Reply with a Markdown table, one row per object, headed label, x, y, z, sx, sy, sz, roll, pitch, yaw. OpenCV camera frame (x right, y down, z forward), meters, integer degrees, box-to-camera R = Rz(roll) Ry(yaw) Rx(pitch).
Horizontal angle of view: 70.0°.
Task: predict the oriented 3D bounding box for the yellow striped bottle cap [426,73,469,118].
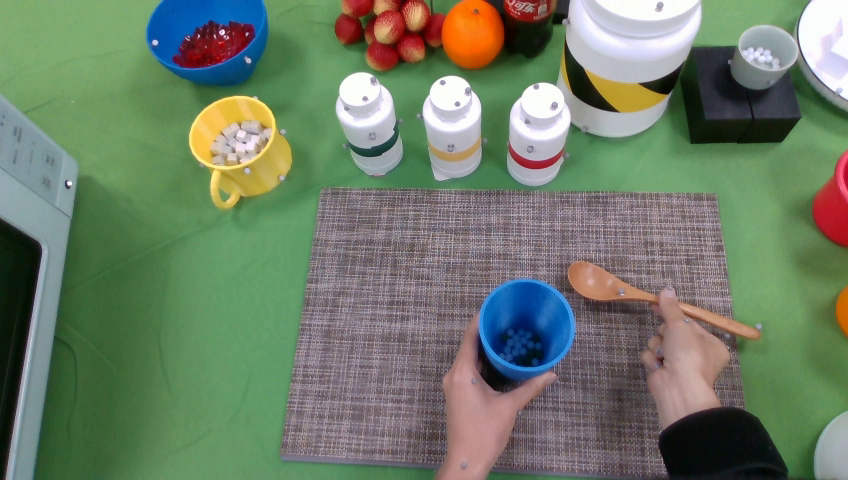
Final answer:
| label | x | y | z | sx | sy | sz | roll | pitch | yaw |
| --- | --- | --- | --- | --- | --- | --- | --- | --- | --- |
| yellow striped bottle cap | 0.024 | -0.149 | 0.623 | 0.044 | 0.019 | 0.044 | -1 | 68 | 4 |

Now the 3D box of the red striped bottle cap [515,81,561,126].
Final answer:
| label | x | y | z | sx | sy | sz | roll | pitch | yaw |
| --- | --- | --- | --- | --- | --- | --- | --- | --- | --- |
| red striped bottle cap | 0.115 | -0.138 | 0.609 | 0.044 | 0.018 | 0.044 | 0 | 65 | 1 |

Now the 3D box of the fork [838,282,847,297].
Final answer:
| label | x | y | z | sx | sy | sz | roll | pitch | yaw |
| --- | --- | --- | --- | --- | --- | --- | --- | --- | --- |
| fork | 0.471 | 0.072 | 0.529 | 0.028 | 0.019 | 0.205 | -32 | 23 | -14 |

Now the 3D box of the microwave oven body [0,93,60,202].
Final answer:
| label | x | y | z | sx | sy | sz | roll | pitch | yaw |
| --- | --- | --- | --- | --- | --- | --- | --- | --- | --- |
| microwave oven body | -0.570 | 0.069 | 0.555 | 0.326 | 0.262 | 0.438 | -8 | 67 | 1 |

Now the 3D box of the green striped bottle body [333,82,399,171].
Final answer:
| label | x | y | z | sx | sy | sz | roll | pitch | yaw |
| --- | --- | --- | --- | --- | --- | --- | --- | --- | --- |
| green striped bottle body | -0.065 | -0.133 | 0.680 | 0.063 | 0.120 | 0.062 | -2 | 66 | 4 |

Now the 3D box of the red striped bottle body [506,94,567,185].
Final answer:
| label | x | y | z | sx | sy | sz | roll | pitch | yaw |
| --- | --- | --- | --- | --- | --- | --- | --- | --- | --- |
| red striped bottle body | 0.121 | -0.115 | 0.657 | 0.063 | 0.121 | 0.062 | -4 | 64 | 8 |

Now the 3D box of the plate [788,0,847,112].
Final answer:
| label | x | y | z | sx | sy | sz | roll | pitch | yaw |
| --- | --- | --- | --- | --- | --- | --- | --- | --- | --- |
| plate | 0.535 | -0.223 | 0.713 | 0.209 | 0.038 | 0.207 | -2 | 67 | 4 |

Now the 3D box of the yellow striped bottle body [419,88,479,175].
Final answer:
| label | x | y | z | sx | sy | sz | roll | pitch | yaw |
| --- | --- | --- | --- | --- | --- | --- | --- | --- | --- |
| yellow striped bottle body | 0.029 | -0.128 | 0.670 | 0.063 | 0.121 | 0.062 | -2 | 66 | 5 |

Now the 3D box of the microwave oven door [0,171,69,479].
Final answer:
| label | x | y | z | sx | sy | sz | roll | pitch | yaw |
| --- | --- | --- | --- | --- | --- | --- | --- | --- | --- |
| microwave oven door | -0.421 | 0.086 | 0.529 | 0.039 | 0.246 | 0.353 | -8 | 66 | 2 |

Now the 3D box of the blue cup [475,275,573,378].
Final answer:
| label | x | y | z | sx | sy | sz | roll | pitch | yaw |
| --- | --- | --- | --- | --- | --- | --- | --- | --- | --- |
| blue cup | 0.090 | 0.091 | 0.576 | 0.092 | 0.101 | 0.092 | -1 | 66 | 3 |

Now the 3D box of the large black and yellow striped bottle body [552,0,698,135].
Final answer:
| label | x | y | z | sx | sy | sz | roll | pitch | yaw |
| --- | --- | --- | --- | --- | --- | --- | --- | --- | --- |
| large black and yellow striped bottle body | 0.214 | -0.216 | 0.658 | 0.131 | 0.185 | 0.130 | -2 | 66 | 5 |

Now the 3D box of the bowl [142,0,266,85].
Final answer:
| label | x | y | z | sx | sy | sz | roll | pitch | yaw |
| --- | --- | --- | --- | --- | --- | --- | --- | --- | --- |
| bowl | -0.267 | -0.252 | 0.772 | 0.151 | 0.077 | 0.150 | -1 | 67 | 4 |

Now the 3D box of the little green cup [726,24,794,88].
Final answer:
| label | x | y | z | sx | sy | sz | roll | pitch | yaw |
| --- | --- | --- | --- | --- | --- | --- | --- | --- | --- |
| little green cup | 0.364 | -0.199 | 0.662 | 0.061 | 0.039 | 0.061 | -1 | 65 | 3 |

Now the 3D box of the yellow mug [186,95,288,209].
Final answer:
| label | x | y | z | sx | sy | sz | roll | pitch | yaw |
| --- | --- | --- | --- | --- | --- | --- | --- | --- | --- |
| yellow mug | -0.222 | -0.098 | 0.707 | 0.100 | 0.064 | 0.130 | 11 | 68 | 8 |

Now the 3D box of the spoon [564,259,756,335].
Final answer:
| label | x | y | z | sx | sy | sz | roll | pitch | yaw |
| --- | --- | --- | --- | --- | --- | --- | --- | --- | --- |
| spoon | 0.235 | 0.061 | 0.612 | 0.193 | 0.022 | 0.041 | 17 | 56 | 15 |

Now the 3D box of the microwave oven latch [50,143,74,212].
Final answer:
| label | x | y | z | sx | sy | sz | roll | pitch | yaw |
| --- | --- | --- | --- | --- | --- | --- | --- | --- | --- |
| microwave oven latch | -0.434 | -0.072 | 0.710 | 0.030 | 0.030 | 0.078 | -6 | 67 | 2 |

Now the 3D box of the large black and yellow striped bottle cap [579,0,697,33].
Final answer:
| label | x | y | z | sx | sy | sz | roll | pitch | yaw |
| --- | --- | --- | --- | --- | --- | --- | --- | --- | --- |
| large black and yellow striped bottle cap | 0.206 | -0.248 | 0.580 | 0.115 | 0.019 | 0.114 | -2 | 65 | 5 |

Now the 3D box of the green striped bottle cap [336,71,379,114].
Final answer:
| label | x | y | z | sx | sy | sz | roll | pitch | yaw |
| --- | --- | --- | --- | --- | --- | --- | --- | --- | --- |
| green striped bottle cap | -0.070 | -0.154 | 0.633 | 0.044 | 0.020 | 0.044 | -1 | 65 | 3 |

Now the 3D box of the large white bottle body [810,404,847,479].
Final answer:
| label | x | y | z | sx | sy | sz | roll | pitch | yaw |
| --- | --- | --- | --- | --- | --- | --- | --- | --- | --- |
| large white bottle body | 0.410 | 0.175 | 0.470 | 0.130 | 0.186 | 0.129 | -2 | 65 | 5 |
